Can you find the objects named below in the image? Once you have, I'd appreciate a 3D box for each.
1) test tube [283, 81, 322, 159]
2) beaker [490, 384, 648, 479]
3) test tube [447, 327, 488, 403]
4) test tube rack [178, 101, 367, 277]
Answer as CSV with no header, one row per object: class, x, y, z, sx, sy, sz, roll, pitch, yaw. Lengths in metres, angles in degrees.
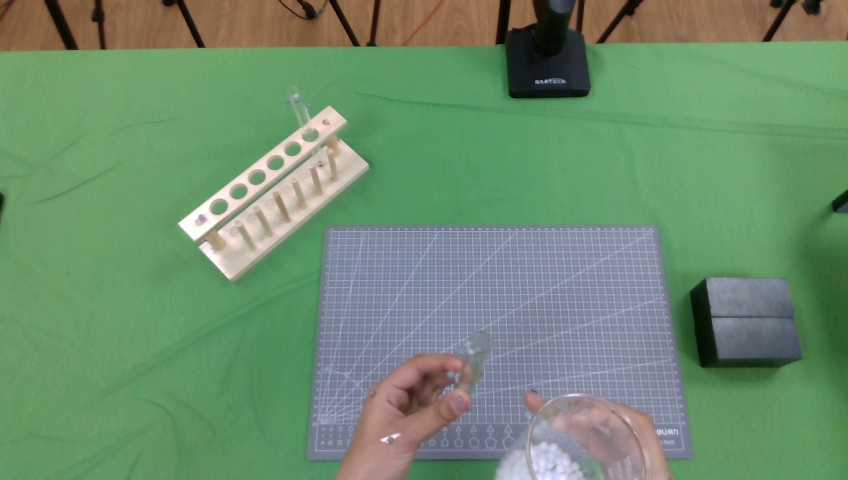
test tube,-0.152,-0.148,0.772,0.017,0.151,0.017,-1,65,3
beaker,0.084,0.148,0.384,0.074,0.101,0.083,30,57,11
test tube,0.030,0.095,0.441,0.017,0.151,0.017,1,62,-2
test tube rack,-0.189,-0.067,0.792,0.242,0.086,0.066,-43,73,-16
